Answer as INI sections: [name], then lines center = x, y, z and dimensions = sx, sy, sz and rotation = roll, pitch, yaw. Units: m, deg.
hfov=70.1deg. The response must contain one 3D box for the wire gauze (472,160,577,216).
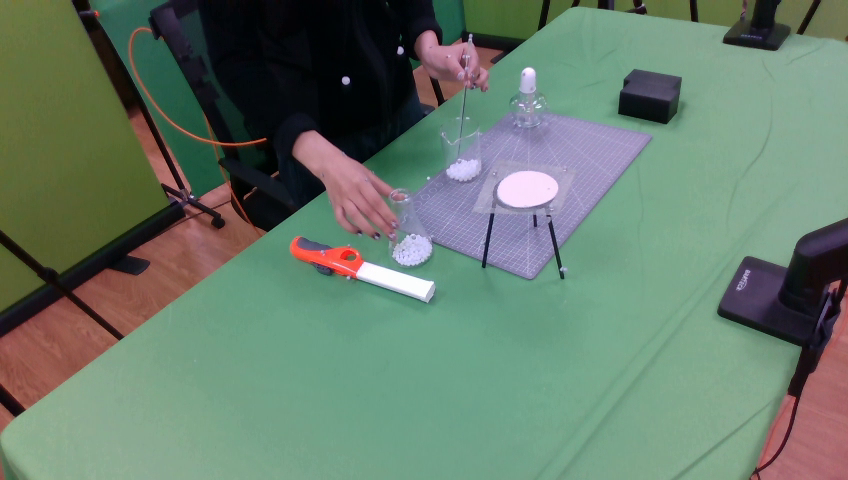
[wire gauze]
center = 0.143, -0.073, 0.850
dimensions = 0.121, 0.011, 0.125
rotation = 8, 43, 22

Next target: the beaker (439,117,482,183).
[beaker]
center = 0.068, -0.160, 1.096
dimensions = 0.073, 0.101, 0.084
rotation = 7, 43, 19

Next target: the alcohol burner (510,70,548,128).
[alcohol burner]
center = 0.209, -0.287, 1.208
dimensions = 0.078, 0.119, 0.077
rotation = -5, 42, 5

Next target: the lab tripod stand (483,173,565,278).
[lab tripod stand]
center = 0.151, -0.025, 0.896
dimensions = 0.148, 0.132, 0.147
rotation = -7, 40, 6

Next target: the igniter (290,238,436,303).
[igniter]
center = -0.106, 0.044, 0.949
dimensions = 0.274, 0.025, 0.057
rotation = 16, 57, 27

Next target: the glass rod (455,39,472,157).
[glass rod]
center = 0.067, -0.243, 1.041
dimensions = 0.008, 0.200, 0.008
rotation = 6, 17, -1

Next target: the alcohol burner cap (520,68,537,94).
[alcohol burner cap]
center = 0.205, -0.313, 1.183
dimensions = 0.034, 0.048, 0.033
rotation = -3, 50, 4

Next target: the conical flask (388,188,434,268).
[conical flask]
center = -0.028, -0.022, 0.937
dimensions = 0.075, 0.122, 0.075
rotation = -6, 40, 5
